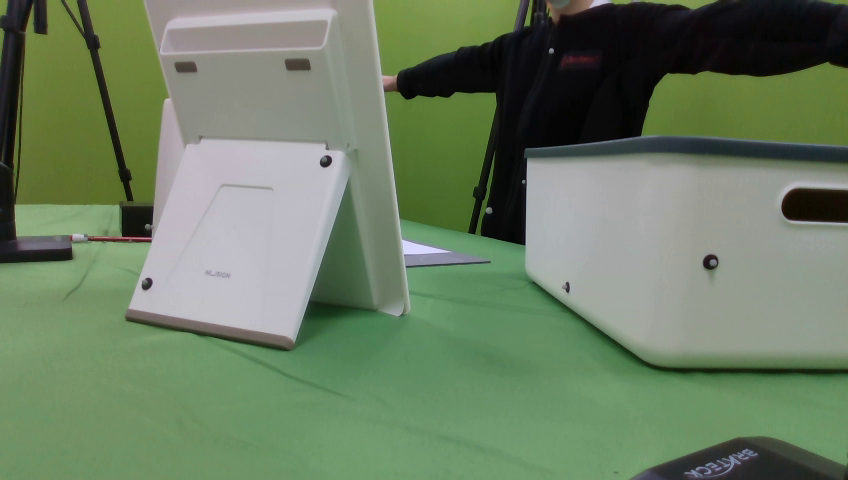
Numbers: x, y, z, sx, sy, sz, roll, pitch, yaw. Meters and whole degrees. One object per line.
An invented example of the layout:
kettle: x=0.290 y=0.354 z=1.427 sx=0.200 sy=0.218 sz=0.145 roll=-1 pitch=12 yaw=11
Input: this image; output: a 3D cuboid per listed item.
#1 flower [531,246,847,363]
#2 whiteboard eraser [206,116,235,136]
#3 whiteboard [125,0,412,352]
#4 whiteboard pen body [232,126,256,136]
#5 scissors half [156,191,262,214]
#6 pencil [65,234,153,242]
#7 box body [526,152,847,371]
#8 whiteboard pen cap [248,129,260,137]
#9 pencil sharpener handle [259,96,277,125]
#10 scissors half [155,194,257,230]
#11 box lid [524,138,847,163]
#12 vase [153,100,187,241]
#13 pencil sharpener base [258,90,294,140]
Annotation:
flower: x=0.251 y=0.063 z=0.602 sx=0.359 sy=0.038 sz=0.044 roll=20 pitch=-13 yaw=49
whiteboard eraser: x=-0.449 y=-0.251 z=1.335 sx=0.056 sy=0.042 sz=0.112 roll=1 pitch=7 yaw=-22
whiteboard: x=-0.151 y=-0.049 z=0.472 sx=0.216 sy=0.305 sz=0.144 roll=6 pitch=27 yaw=24
whiteboard pen body: x=-0.407 y=-0.247 z=1.372 sx=0.017 sy=0.017 sz=0.140 roll=-3 pitch=13 yaw=-35
scissors half: x=-0.371 y=-0.069 z=1.051 sx=0.176 sy=0.040 sz=0.013 roll=2 pitch=25 yaw=-24
pencil: x=-0.429 y=-0.001 z=0.911 sx=0.195 sy=0.012 sz=0.012 roll=1 pitch=8 yaw=-19
box body: x=0.259 y=-0.004 z=0.584 sx=0.255 sy=0.160 sz=0.363 roll=2 pitch=7 yaw=-6
whiteboard pen cap: x=-0.373 y=-0.235 z=1.326 sx=0.018 sy=0.018 sz=0.033 roll=-3 pitch=12 yaw=-35
pencil sharpener handle: x=-0.373 y=-0.304 z=1.425 sx=0.036 sy=0.067 sz=0.030 roll=13 pitch=-1 yaw=-37
scissors half: x=-0.378 y=-0.051 z=1.058 sx=0.176 sy=0.040 sz=0.012 roll=20 pitch=22 yaw=-31
box lid: x=0.262 y=-0.076 z=0.573 sx=0.264 sy=0.015 sz=0.371 roll=2 pitch=7 yaw=-6
vase: x=-0.278 y=-0.066 z=0.736 sx=0.098 sy=0.200 sz=0.098 roll=2 pitch=9 yaw=0
pencil sharpener base: x=-0.341 y=-0.285 z=1.388 sx=0.062 sy=0.107 sz=0.076 roll=-3 pitch=9 yaw=-36
